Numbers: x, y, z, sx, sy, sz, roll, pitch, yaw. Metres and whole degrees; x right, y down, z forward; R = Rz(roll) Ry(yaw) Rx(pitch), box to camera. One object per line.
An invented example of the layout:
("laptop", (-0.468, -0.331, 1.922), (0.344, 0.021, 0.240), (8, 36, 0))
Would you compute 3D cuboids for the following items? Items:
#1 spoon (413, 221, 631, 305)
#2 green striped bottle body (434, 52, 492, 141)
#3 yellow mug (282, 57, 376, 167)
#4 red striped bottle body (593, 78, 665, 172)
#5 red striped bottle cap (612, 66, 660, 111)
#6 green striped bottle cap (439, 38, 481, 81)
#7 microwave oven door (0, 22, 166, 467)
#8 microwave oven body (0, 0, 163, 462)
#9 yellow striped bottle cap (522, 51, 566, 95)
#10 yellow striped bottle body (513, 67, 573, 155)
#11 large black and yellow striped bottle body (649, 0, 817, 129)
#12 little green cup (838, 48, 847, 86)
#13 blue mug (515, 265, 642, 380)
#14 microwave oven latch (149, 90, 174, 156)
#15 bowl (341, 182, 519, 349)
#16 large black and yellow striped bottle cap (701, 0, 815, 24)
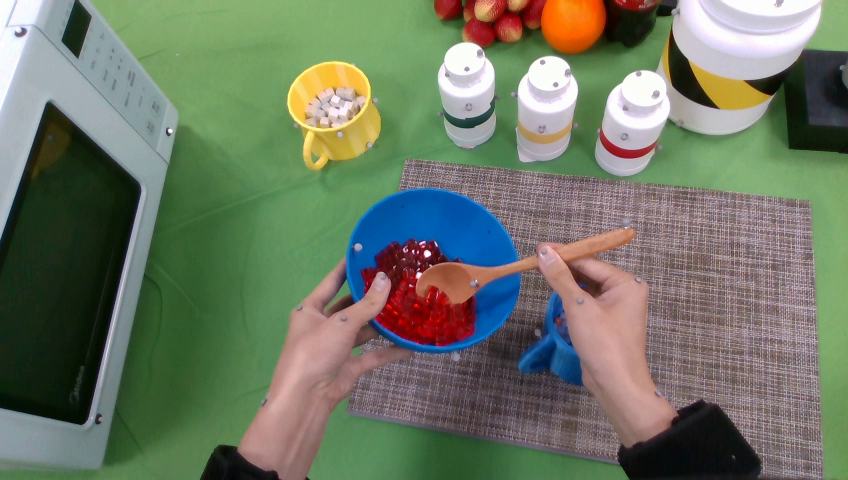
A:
("spoon", (0.073, 0.018, 0.495), (0.193, 0.022, 0.041), (-18, 88, 33))
("green striped bottle body", (0.045, -0.170, 0.687), (0.063, 0.120, 0.062), (-2, 67, 6))
("yellow mug", (-0.118, -0.147, 0.726), (0.099, 0.064, 0.130), (17, 71, 14))
("red striped bottle body", (0.218, -0.129, 0.648), (0.063, 0.121, 0.062), (-4, 65, 8))
("red striped bottle cap", (0.211, -0.151, 0.601), (0.044, 0.018, 0.044), (-1, 66, 2))
("green striped bottle cap", (0.038, -0.191, 0.640), (0.044, 0.020, 0.044), (-3, 65, 6))
("microwave oven door", (-0.350, 0.018, 0.568), (0.039, 0.246, 0.353), (-2, 67, 7))
("microwave oven body", (-0.493, -0.016, 0.605), (0.326, 0.262, 0.438), (-1, 67, 6))
("yellow striped bottle cap", (0.124, -0.171, 0.621), (0.044, 0.019, 0.044), (-2, 68, 6))
("yellow striped bottle body", (0.130, -0.151, 0.668), (0.063, 0.121, 0.062), (-3, 66, 7))
("large black and yellow striped bottle body", (0.321, -0.219, 0.639), (0.130, 0.185, 0.130), (-3, 67, 6))
("little green cup", (0.468, -0.186, 0.631), (0.061, 0.039, 0.061), (-1, 65, 3))
("blue mug", (0.137, 0.088, 0.569), (0.116, 0.107, 0.081), (-27, 66, -5))
("microwave oven latch", (-0.331, -0.144, 0.746), (0.030, 0.030, 0.078), (0, 68, 7))
("bowl", (0.000, 0.033, 0.536), (0.152, 0.077, 0.150), (6, 63, -10))
("large black and yellow striped bottle cap", (0.310, -0.251, 0.562), (0.115, 0.019, 0.114), (-3, 65, 6))
